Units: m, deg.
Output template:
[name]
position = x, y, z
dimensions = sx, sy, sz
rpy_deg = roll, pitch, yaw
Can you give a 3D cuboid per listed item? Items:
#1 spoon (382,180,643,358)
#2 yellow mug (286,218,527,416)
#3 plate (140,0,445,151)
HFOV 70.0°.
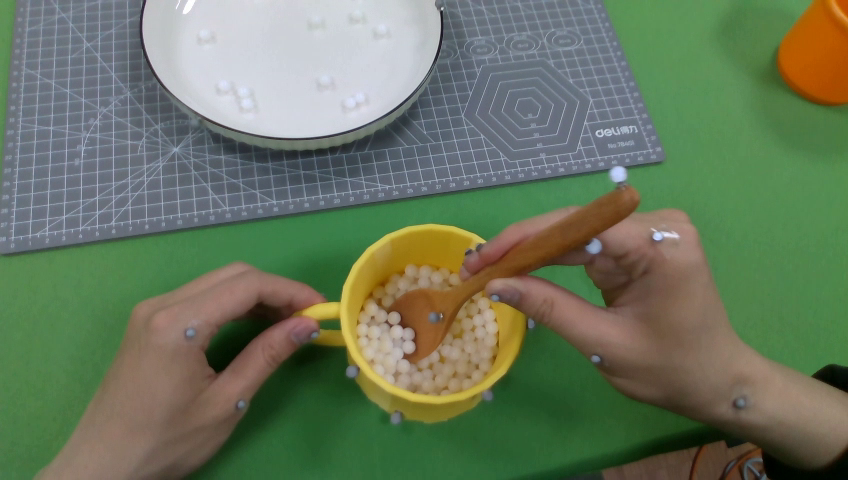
[spoon]
position = 0.029, 0.020, 0.294
dimensions = 0.022, 0.194, 0.041
rpy_deg = 1, 67, -30
[yellow mug]
position = -0.012, 0.046, 0.345
dimensions = 0.131, 0.064, 0.099
rpy_deg = -1, 67, -5
[plate]
position = -0.089, -0.149, 0.435
dimensions = 0.208, 0.039, 0.206
rpy_deg = 2, 66, -4
